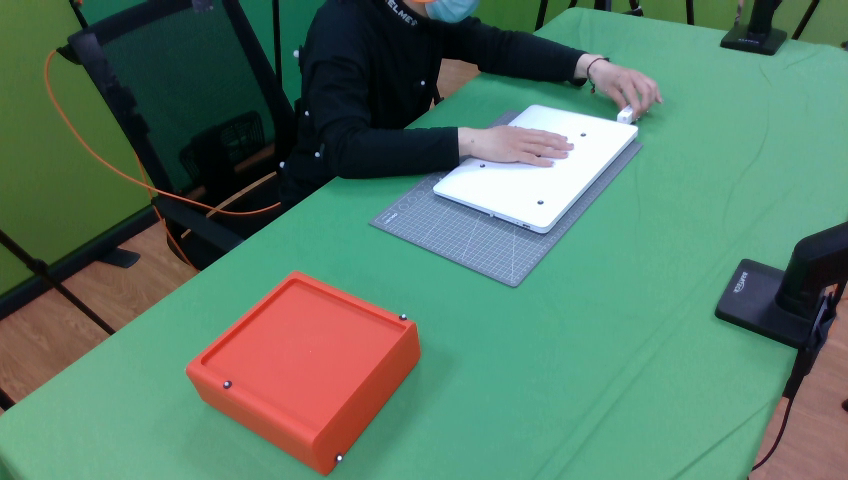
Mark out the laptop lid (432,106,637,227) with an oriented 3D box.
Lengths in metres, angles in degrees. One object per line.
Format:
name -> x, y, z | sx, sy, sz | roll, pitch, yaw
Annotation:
laptop lid -> 0.207, -0.151, 1.105 | 0.239, 0.013, 0.358 | 23, 48, 34

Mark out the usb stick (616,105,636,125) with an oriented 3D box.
usb stick -> 0.389, -0.237, 1.176 | 0.021, 0.027, 0.059 | 24, 58, 30

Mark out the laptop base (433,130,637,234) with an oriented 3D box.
laptop base -> 0.210, -0.141, 1.111 | 0.233, 0.023, 0.355 | 21, 47, 34

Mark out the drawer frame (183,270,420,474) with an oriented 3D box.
drawer frame -> -0.149, 0.153, 0.767 | 0.212, 0.083, 0.202 | 20, 46, 27

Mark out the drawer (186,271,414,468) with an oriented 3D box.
drawer -> -0.150, 0.153, 0.768 | 0.210, 0.073, 0.195 | 20, 46, 28
